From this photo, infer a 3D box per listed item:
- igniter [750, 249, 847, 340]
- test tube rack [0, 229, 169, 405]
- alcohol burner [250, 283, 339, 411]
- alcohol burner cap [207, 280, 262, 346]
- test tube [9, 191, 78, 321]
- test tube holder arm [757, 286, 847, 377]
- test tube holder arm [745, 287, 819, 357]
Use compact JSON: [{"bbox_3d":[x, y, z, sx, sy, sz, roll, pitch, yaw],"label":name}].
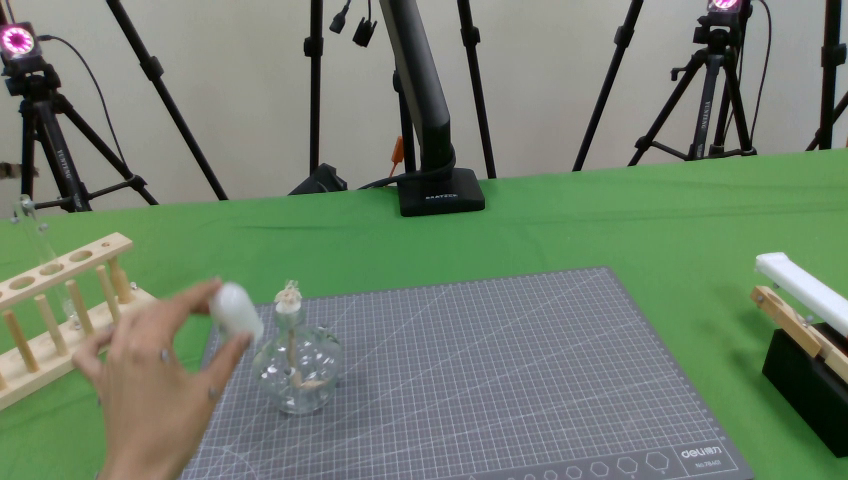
[{"bbox_3d":[0.368,0.081,0.502,0.057,0.025,0.274,-7,28,-6],"label":"igniter"},{"bbox_3d":[-0.384,0.085,0.585,0.066,0.086,0.242,21,39,33],"label":"test tube rack"},{"bbox_3d":[-0.114,0.089,0.526,0.078,0.120,0.077,-2,30,1],"label":"alcohol burner"},{"bbox_3d":[-0.141,0.051,0.442,0.034,0.048,0.033,-5,40,4],"label":"alcohol burner cap"},{"bbox_3d":[-0.369,0.020,0.594,0.017,0.151,0.017,-1,34,1],"label":"test tube"},{"bbox_3d":[0.330,0.091,0.494,0.013,0.015,0.176,-10,31,-11],"label":"test tube holder arm"},{"bbox_3d":[0.314,0.070,0.531,0.010,0.015,0.087,-9,31,-9],"label":"test tube holder arm"}]
